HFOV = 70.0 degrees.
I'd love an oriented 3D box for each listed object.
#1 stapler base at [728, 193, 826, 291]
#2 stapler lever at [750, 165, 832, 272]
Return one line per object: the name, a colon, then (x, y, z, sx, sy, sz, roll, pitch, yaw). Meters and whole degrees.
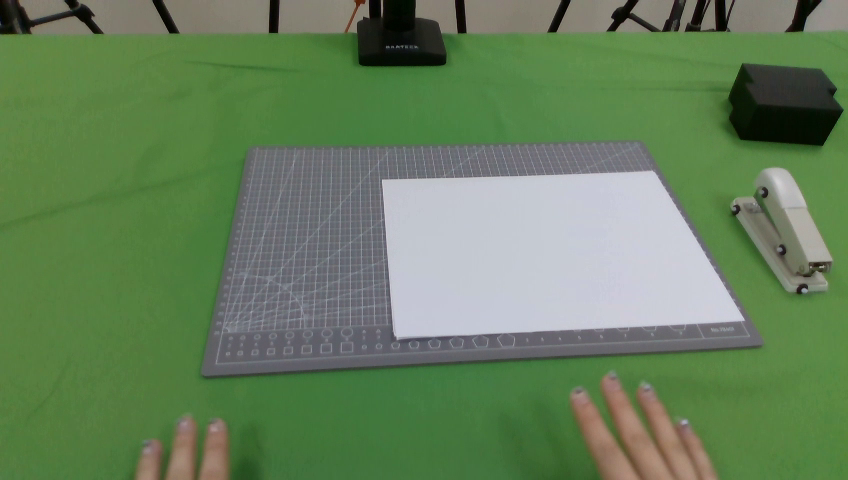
stapler base: (0.341, -0.007, 0.587, 0.041, 0.024, 0.129, -3, 46, -4)
stapler lever: (0.343, -0.024, 0.568, 0.027, 0.040, 0.117, -4, 46, -4)
